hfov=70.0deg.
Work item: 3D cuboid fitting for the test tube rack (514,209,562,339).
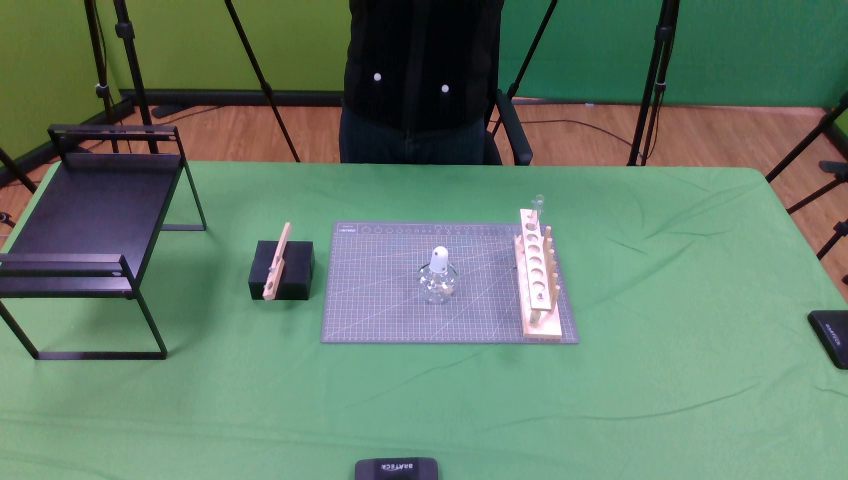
[{"bbox_3d":[0.212,0.056,1.113,0.067,0.085,0.241,3,46,-1],"label":"test tube rack"}]

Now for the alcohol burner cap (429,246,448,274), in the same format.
[{"bbox_3d":[0.027,0.032,1.052,0.034,0.048,0.033,4,41,-3],"label":"alcohol burner cap"}]

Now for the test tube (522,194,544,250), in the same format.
[{"bbox_3d":[0.201,-0.029,1.125,0.017,0.151,0.017,2,51,-2],"label":"test tube"}]

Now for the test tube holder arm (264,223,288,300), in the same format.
[{"bbox_3d":[-0.264,0.034,1.082,0.013,0.015,0.177,-3,45,2],"label":"test tube holder arm"}]

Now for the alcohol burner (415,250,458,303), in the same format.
[{"bbox_3d":[0.024,0.057,1.078,0.078,0.119,0.077,3,44,-3],"label":"alcohol burner"}]

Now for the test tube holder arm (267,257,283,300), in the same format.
[{"bbox_3d":[-0.258,0.066,1.050,0.010,0.015,0.087,-2,45,2],"label":"test tube holder arm"}]
